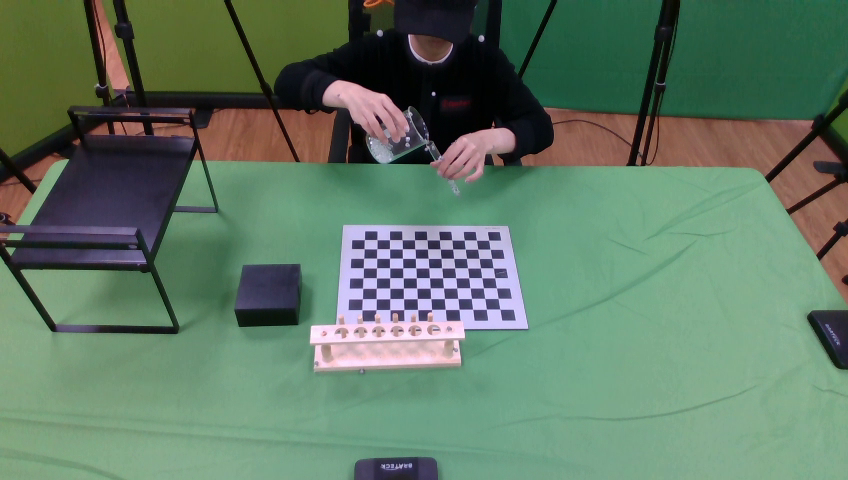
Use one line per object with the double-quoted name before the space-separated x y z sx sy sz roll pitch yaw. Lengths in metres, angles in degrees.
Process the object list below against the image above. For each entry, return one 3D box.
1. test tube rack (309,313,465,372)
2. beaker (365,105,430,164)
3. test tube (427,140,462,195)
"test tube rack" -0.059 0.161 0.990 0.242 0.085 0.066 -1 46 -5
"beaker" -0.048 -0.188 1.104 0.100 0.084 0.073 -25 49 19
"test tube" 0.042 -0.137 1.170 0.017 0.151 0.017 -16 48 18
